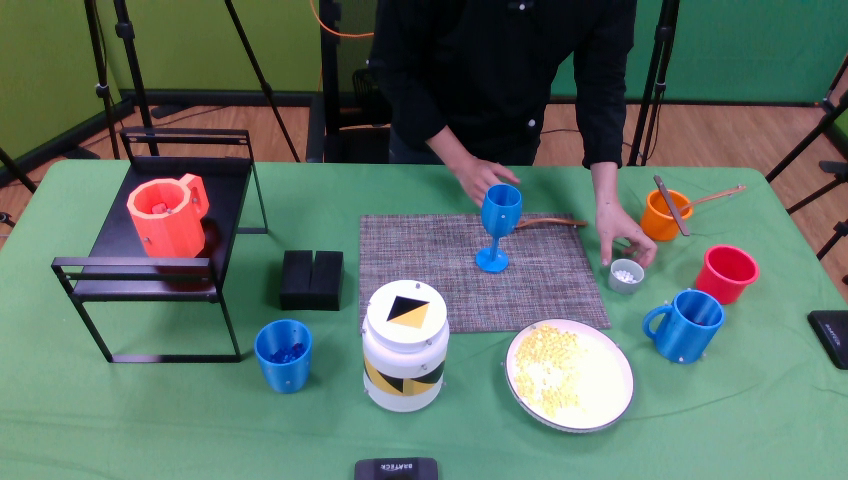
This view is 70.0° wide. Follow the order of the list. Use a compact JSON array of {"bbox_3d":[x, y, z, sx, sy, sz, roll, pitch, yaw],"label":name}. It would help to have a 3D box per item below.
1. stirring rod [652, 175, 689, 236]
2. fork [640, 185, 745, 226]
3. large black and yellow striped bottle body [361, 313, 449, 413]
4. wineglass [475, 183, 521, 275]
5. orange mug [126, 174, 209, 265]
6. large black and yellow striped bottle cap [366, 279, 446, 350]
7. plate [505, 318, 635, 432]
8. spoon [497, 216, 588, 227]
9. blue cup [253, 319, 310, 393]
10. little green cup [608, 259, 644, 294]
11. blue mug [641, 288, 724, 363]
[{"bbox_3d":[0.491,-0.072,1.211,0.014,0.006,0.175,0,47,-6],"label":"stirring rod"},{"bbox_3d":[0.534,-0.069,1.215,0.207,0.019,0.028,-26,27,33],"label":"fork"},{"bbox_3d":[-0.031,0.163,0.924,0.131,0.185,0.130,2,46,-2],"label":"large black and yellow striped bottle body"},{"bbox_3d":[0.134,-0.020,1.115,0.074,0.173,0.073,2,46,-2],"label":"wineglass"},{"bbox_3d":[-0.371,-0.039,0.902,0.083,0.101,0.126,18,51,14],"label":"orange mug"},{"bbox_3d":[-0.025,0.104,0.864,0.115,0.019,0.114,3,48,-3],"label":"large black and yellow striped bottle cap"},{"bbox_3d":[0.235,0.221,0.991,0.209,0.038,0.208,2,45,-2],"label":"plate"},{"bbox_3d":[0.245,-0.039,1.247,0.194,0.022,0.041,-1,26,-6],"label":"spoon"},{"bbox_3d":[-0.217,0.187,0.943,0.093,0.101,0.092,3,45,-3],"label":"blue cup"},{"bbox_3d":[0.379,0.070,1.147,0.061,0.039,0.061,3,45,-3],"label":"little green cup"},{"bbox_3d":[0.432,0.144,1.033,0.116,0.106,0.082,8,46,5],"label":"blue mug"}]
